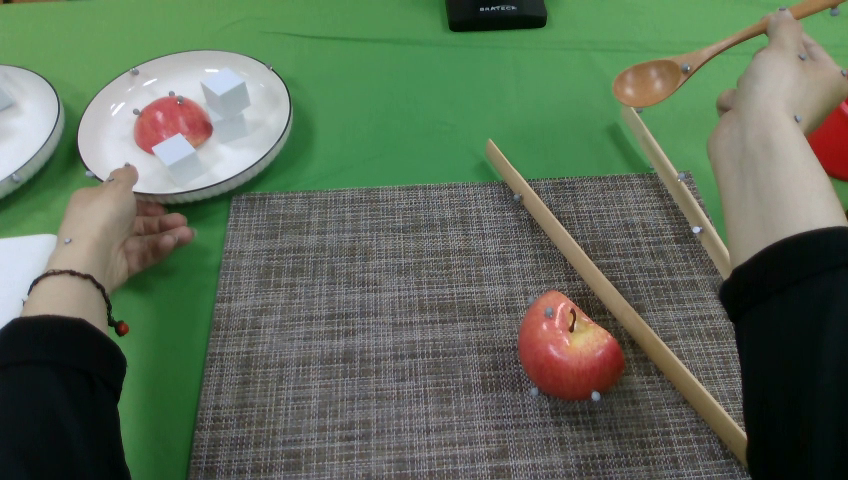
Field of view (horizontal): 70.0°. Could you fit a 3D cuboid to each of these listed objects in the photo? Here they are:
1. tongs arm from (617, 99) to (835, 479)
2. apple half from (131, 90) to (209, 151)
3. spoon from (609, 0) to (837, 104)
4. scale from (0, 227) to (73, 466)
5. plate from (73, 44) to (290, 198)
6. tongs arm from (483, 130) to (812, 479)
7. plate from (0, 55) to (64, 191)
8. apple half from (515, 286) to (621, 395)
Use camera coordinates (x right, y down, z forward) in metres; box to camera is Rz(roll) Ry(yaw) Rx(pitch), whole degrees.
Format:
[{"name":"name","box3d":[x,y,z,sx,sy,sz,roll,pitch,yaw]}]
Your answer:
[{"name":"tongs arm","box3d":[0.235,0.011,0.527,0.051,0.027,0.380,-12,57,-11]},{"name":"apple half","box3d":[-0.259,-0.127,0.612,0.081,0.033,0.080,-1,53,2]},{"name":"spoon","box3d":[0.239,-0.155,0.464,0.193,0.022,0.041,-23,66,23]},{"name":"scale","box3d":[-0.367,0.082,0.476,0.149,0.032,0.199,-7,56,-5]},{"name":"plate","box3d":[-0.238,-0.119,0.613,0.209,0.038,0.207,0,55,0]},{"name":"tongs arm","box3d":[0.157,0.035,0.510,0.028,0.028,0.383,-22,59,-21]},{"name":"plate","box3d":[-0.463,-0.103,0.600,0.208,0.039,0.205,0,55,0]},{"name":"apple half","box3d":[0.098,0.082,0.451,0.053,0.075,0.080,-37,66,-18]}]
